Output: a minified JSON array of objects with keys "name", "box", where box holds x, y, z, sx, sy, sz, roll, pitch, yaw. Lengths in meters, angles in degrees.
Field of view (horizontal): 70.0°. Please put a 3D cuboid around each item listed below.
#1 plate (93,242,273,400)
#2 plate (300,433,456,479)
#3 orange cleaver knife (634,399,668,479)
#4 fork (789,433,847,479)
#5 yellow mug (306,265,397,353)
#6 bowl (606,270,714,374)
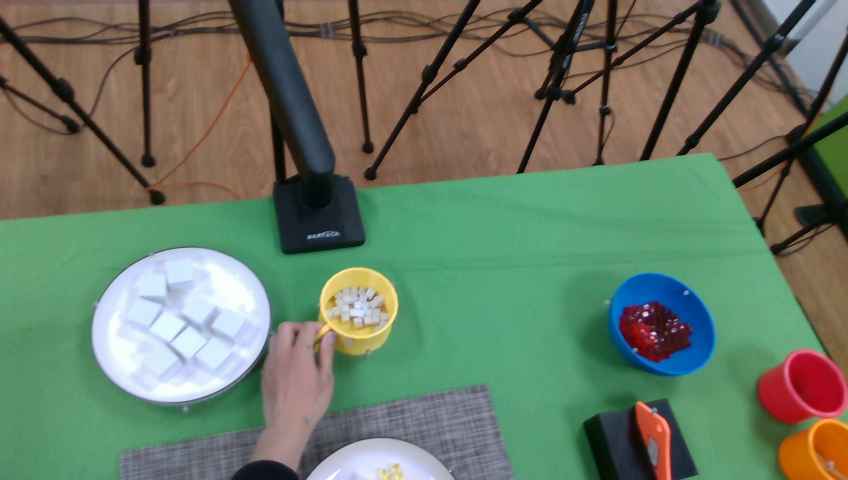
[{"name":"plate","box":[-0.296,0.100,0.762,0.208,0.039,0.206,6,60,-9]},{"name":"plate","box":[-0.053,0.328,0.685,0.210,0.038,0.207,6,61,-10]},{"name":"orange cleaver knife","box":[0.289,0.307,0.751,0.012,0.077,0.211,-6,87,-11]},{"name":"fork","box":[0.535,0.312,0.764,0.028,0.019,0.206,6,16,-8]},{"name":"yellow mug","box":[-0.100,0.099,0.790,0.131,0.064,0.099,-38,75,-27]},{"name":"bowl","box":[0.320,0.126,0.861,0.152,0.077,0.150,5,61,-9]}]
